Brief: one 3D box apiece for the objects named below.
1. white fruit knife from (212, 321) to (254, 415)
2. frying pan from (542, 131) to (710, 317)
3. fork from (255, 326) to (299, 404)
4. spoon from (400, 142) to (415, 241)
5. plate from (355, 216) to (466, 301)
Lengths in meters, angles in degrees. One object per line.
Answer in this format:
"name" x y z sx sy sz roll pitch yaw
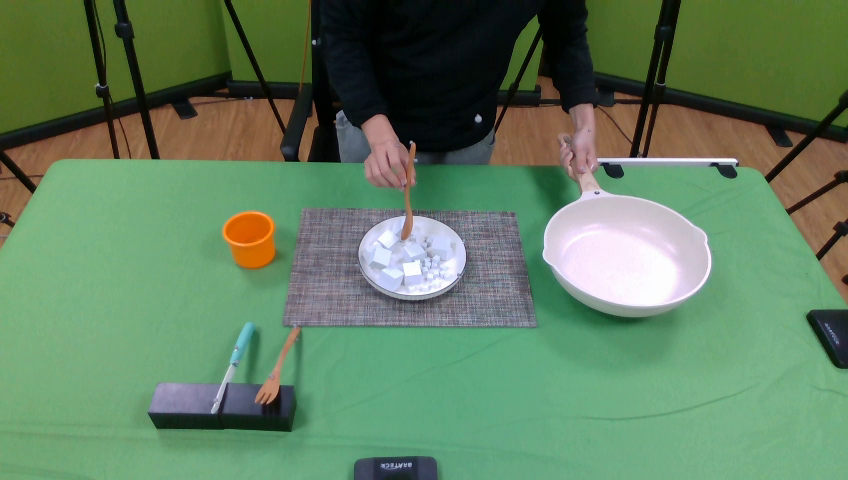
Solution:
"white fruit knife" -0.298 0.193 0.947 0.016 0.027 0.206 1 31 -1
"frying pan" 0.349 -0.050 1.184 0.307 0.103 0.484 -7 52 -6
"fork" -0.226 0.192 0.955 0.028 0.019 0.206 0 27 4
"spoon" -0.030 -0.085 1.088 0.022 0.194 0.041 -4 33 -11
"plate" -0.025 0.038 1.143 0.208 0.039 0.206 3 46 -2
